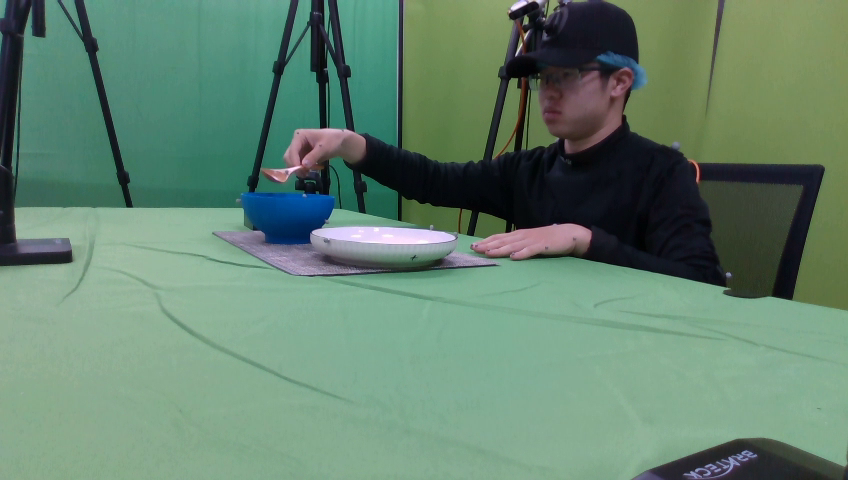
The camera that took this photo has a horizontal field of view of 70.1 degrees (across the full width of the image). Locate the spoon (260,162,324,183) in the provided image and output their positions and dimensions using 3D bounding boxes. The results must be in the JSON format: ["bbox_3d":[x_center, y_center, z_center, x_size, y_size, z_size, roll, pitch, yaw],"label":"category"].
[{"bbox_3d":[-0.231,-0.127,1.092,0.041,0.021,0.194,31,25,13],"label":"spoon"}]

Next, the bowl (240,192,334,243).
[{"bbox_3d":[-0.223,-0.037,0.992,0.151,0.077,0.151,2,7,0],"label":"bowl"}]

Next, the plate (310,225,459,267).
[{"bbox_3d":[-0.055,0.008,0.851,0.208,0.039,0.207,2,7,0],"label":"plate"}]
